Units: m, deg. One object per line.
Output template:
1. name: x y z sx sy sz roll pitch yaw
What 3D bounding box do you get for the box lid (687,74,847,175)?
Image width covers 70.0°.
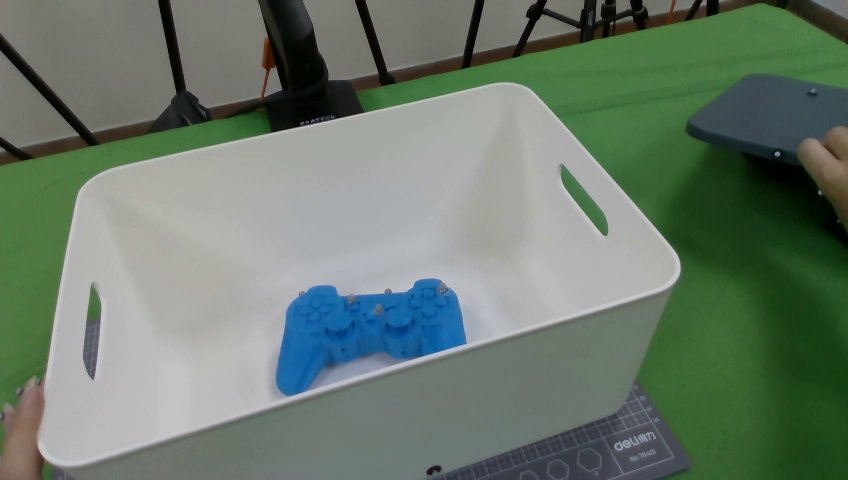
1. box lid: 0.461 -0.091 0.563 0.368 0.015 0.263 24 36 32

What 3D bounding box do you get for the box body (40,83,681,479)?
1. box body: -0.044 0.043 0.457 0.365 0.162 0.251 -15 44 -10

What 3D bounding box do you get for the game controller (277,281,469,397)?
1. game controller: -0.041 0.075 0.498 0.155 0.052 0.096 -3 39 2
